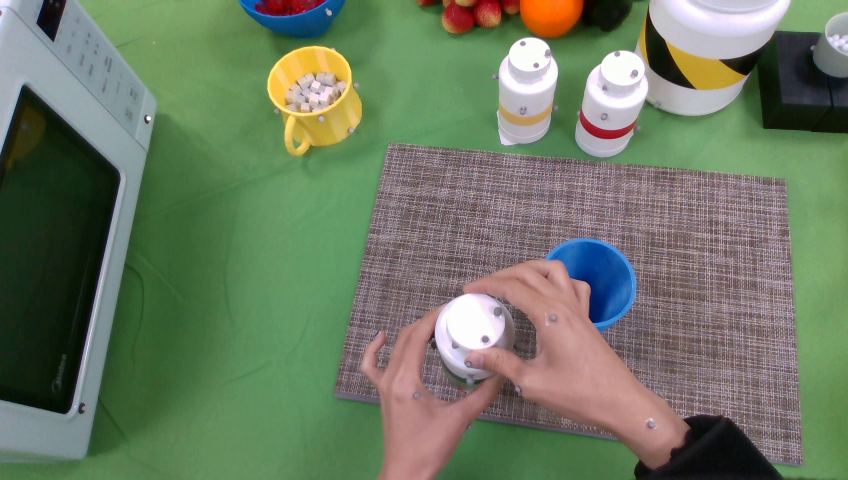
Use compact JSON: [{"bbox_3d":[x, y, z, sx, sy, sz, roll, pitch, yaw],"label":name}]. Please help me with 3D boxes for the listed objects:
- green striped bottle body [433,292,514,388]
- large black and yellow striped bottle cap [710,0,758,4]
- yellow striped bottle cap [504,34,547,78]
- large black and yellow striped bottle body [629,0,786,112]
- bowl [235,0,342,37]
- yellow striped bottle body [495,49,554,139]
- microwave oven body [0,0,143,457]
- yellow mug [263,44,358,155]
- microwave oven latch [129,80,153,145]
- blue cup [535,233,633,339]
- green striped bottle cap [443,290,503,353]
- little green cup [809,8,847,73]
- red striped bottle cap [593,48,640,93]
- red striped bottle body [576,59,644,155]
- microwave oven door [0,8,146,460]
[{"bbox_3d":[0.041,0.082,0.499,0.063,0.120,0.062,-1,67,4],"label":"green striped bottle body"},{"bbox_3d":[0.292,-0.273,0.574,0.115,0.019,0.114,-2,66,5],"label":"large black and yellow striped bottle cap"},{"bbox_3d":[0.105,-0.190,0.627,0.044,0.019,0.044,-2,68,4],"label":"yellow striped bottle cap"},{"bbox_3d":[0.301,-0.241,0.652,0.130,0.185,0.130,-2,67,5],"label":"large black and yellow striped bottle body"},{"bbox_3d":[-0.167,-0.321,0.788,0.151,0.077,0.150,-2,67,4],"label":"bowl"},{"bbox_3d":[0.111,-0.170,0.674,0.063,0.121,0.062,-2,67,6],"label":"yellow striped bottle body"},{"bbox_3d":[-0.507,-0.023,0.592,0.326,0.262,0.438,-3,68,4],"label":"microwave oven body"},{"bbox_3d":[-0.140,-0.162,0.725,0.099,0.064,0.130,16,70,11],"label":"yellow mug"},{"bbox_3d":[-0.352,-0.154,0.737,0.030,0.030,0.078,-1,68,5],"label":"microwave oven latch"},{"bbox_3d":[0.146,0.053,0.583,0.092,0.101,0.092,-1,66,3],"label":"blue cup"},{"bbox_3d":[0.036,0.060,0.448,0.044,0.020,0.044,0,67,1],"label":"green striped bottle cap"},{"bbox_3d":[0.449,-0.212,0.649,0.061,0.039,0.061,-1,66,3],"label":"little green cup"},{"bbox_3d":[0.194,-0.171,0.610,0.044,0.018,0.044,0,66,1],"label":"red striped bottle cap"},{"bbox_3d":[0.201,-0.150,0.658,0.063,0.121,0.062,-4,64,8],"label":"red striped bottle body"},{"bbox_3d":[-0.362,0.008,0.560,0.039,0.246,0.353,-3,67,5],"label":"microwave oven door"}]
